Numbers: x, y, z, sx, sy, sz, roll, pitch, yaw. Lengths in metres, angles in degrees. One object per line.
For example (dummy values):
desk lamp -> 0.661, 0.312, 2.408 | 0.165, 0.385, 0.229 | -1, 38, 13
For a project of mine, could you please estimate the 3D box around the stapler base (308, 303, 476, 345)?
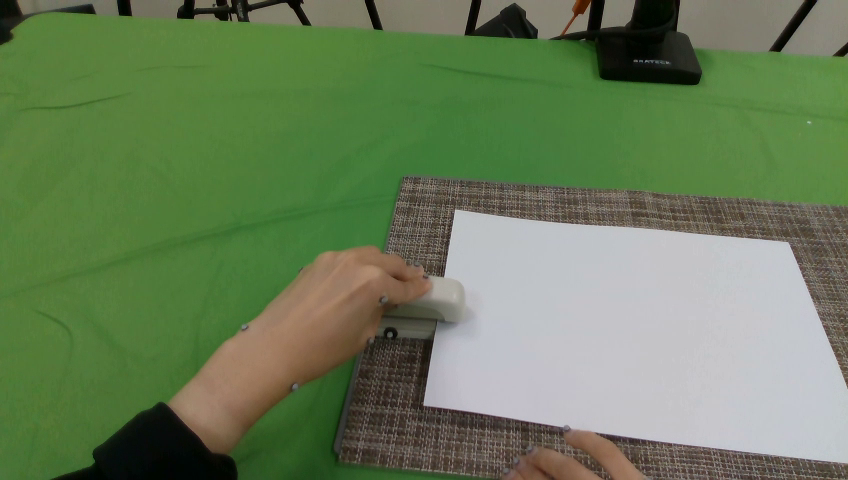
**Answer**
stapler base -> -0.025, 0.056, 0.472 | 0.130, 0.024, 0.041 | 2, 41, 5

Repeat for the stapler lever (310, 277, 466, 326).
stapler lever -> -0.026, 0.045, 0.461 | 0.118, 0.040, 0.026 | 10, 42, -1
